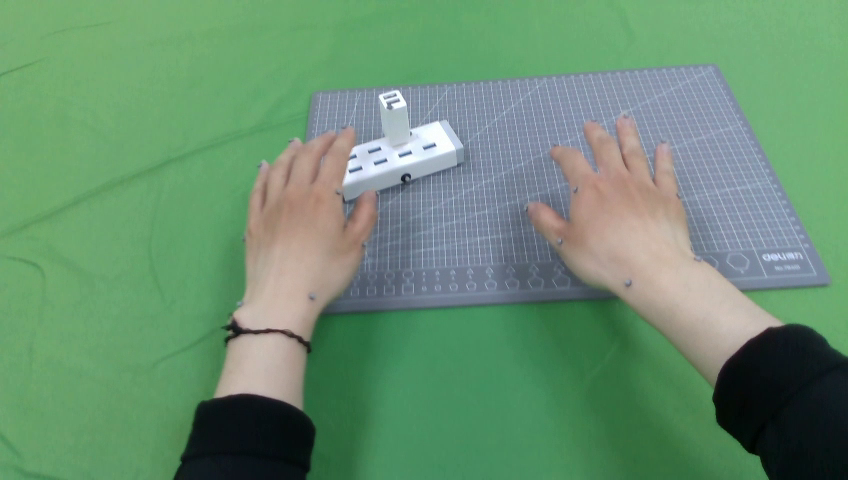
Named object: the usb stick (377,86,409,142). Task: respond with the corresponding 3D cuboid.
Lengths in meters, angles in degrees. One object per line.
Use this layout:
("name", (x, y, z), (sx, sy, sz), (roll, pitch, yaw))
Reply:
("usb stick", (-0.028, -0.114, 0.579), (0.021, 0.060, 0.027), (-20, 51, -11))

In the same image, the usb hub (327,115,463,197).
("usb hub", (-0.028, -0.084, 0.592), (0.125, 0.025, 0.049), (-19, 52, -11))
